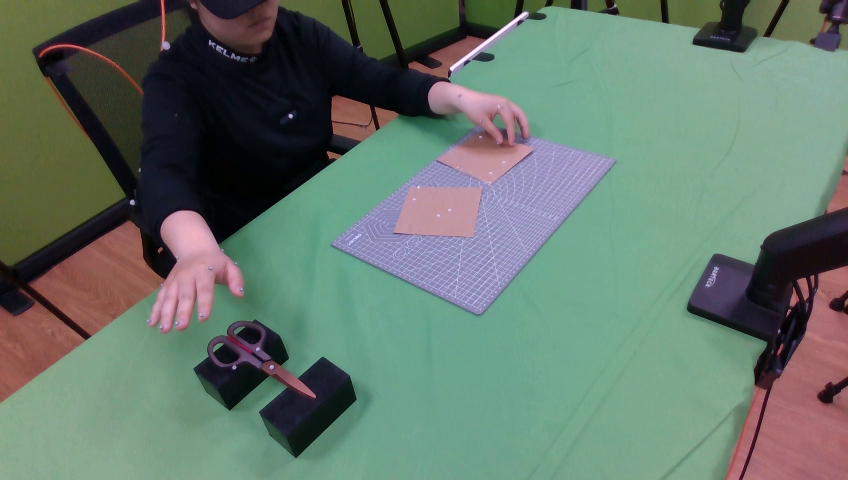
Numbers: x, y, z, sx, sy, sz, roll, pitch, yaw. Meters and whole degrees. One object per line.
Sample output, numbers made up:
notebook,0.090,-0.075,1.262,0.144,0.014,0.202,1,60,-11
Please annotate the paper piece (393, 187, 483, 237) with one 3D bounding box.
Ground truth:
paper piece,0.027,-0.051,1.033,0.135,0.004,0.135,3,41,12

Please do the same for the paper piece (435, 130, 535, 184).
paper piece,0.116,-0.161,1.149,0.135,0.009,0.138,31,53,32

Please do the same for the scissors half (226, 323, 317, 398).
scissors half,-0.189,0.149,0.754,0.173,0.013,0.040,31,48,34

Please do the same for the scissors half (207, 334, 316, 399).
scissors half,-0.201,0.158,0.741,0.174,0.013,0.040,18,37,23
